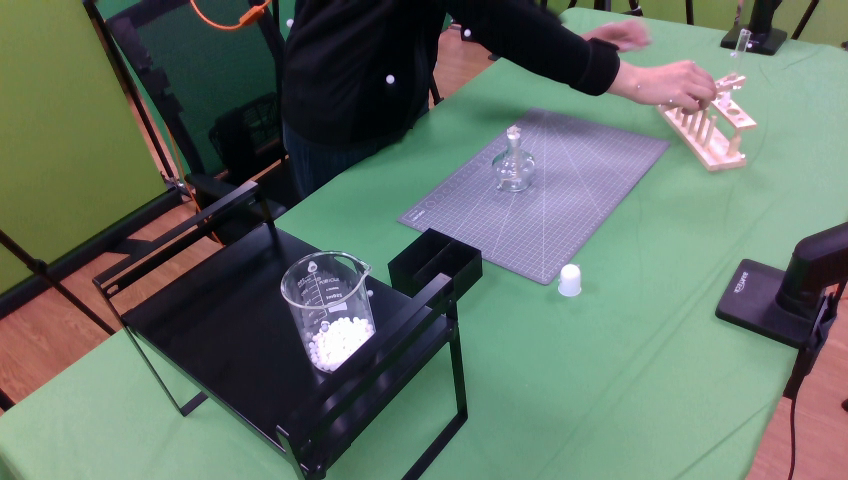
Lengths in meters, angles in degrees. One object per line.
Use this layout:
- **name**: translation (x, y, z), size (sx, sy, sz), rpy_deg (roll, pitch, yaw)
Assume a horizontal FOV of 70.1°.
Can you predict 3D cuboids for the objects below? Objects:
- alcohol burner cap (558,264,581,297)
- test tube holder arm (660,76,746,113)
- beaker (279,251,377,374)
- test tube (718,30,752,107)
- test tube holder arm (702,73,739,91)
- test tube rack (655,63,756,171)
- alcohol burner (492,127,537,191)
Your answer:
- **alcohol burner cap**: translation (0.209, 0.055, 0.865), size (0.034, 0.048, 0.033), rpy_deg (-4, 41, 4)
- **test tube holder arm**: translation (0.463, -0.242, 1.001), size (0.179, 0.015, 0.013), rpy_deg (-22, 45, -19)
- **beaker**: translation (-0.083, 0.070, 0.569), size (0.084, 0.101, 0.073), rpy_deg (-18, 42, -13)
- **test tube**: translation (0.518, -0.279, 1.014), size (0.017, 0.151, 0.017), rpy_deg (-3, 46, 3)
- **test tube holder arm**: translation (0.499, -0.262, 1.021), size (0.088, 0.015, 0.010), rpy_deg (-28, 47, -24)
- **test tube rack**: translation (0.511, -0.233, 1.120), size (0.067, 0.085, 0.241), rpy_deg (-9, 41, 0)
- **alcohol burner**: translation (0.156, -0.146, 1.046), size (0.078, 0.119, 0.077), rpy_deg (-4, 43, 4)
